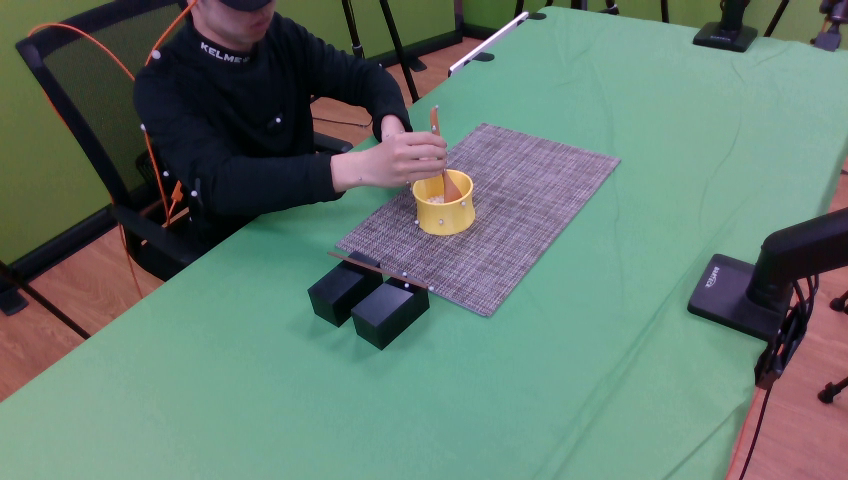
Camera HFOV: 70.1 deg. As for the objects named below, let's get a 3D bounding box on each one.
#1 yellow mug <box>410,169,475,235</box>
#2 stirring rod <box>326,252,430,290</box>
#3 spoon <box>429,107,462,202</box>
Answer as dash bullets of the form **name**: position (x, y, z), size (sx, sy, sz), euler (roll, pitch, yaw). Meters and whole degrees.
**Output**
- **yellow mug**: position (0.022, -0.070, 1.007), size (0.129, 0.064, 0.100), euler (29, 52, 36)
- **stirring rod**: position (-0.068, 0.043, 0.859), size (0.175, 0.006, 0.014), euler (17, 11, 26)
- **spoon**: position (0.030, -0.117, 0.947), size (0.042, 0.194, 0.021), euler (-32, 34, -25)
